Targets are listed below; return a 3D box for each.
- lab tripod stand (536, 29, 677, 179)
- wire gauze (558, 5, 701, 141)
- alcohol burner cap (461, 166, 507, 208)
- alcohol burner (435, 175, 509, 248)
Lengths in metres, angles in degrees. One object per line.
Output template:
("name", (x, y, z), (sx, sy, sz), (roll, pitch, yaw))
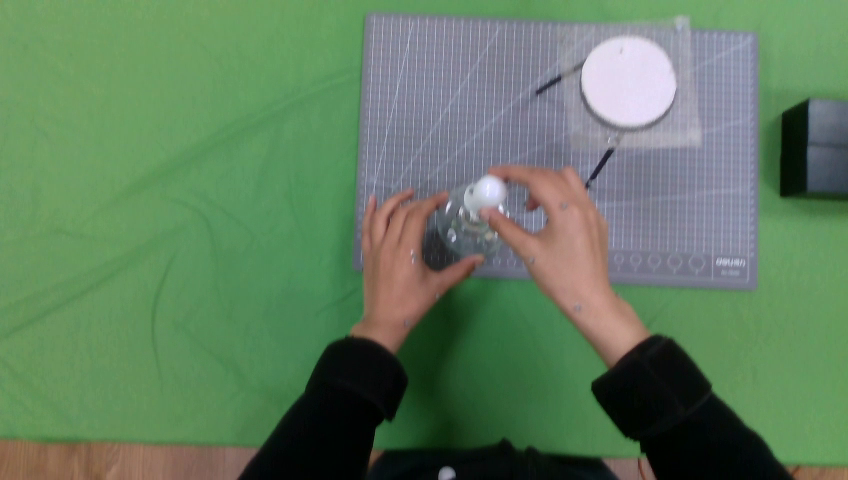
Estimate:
("lab tripod stand", (0.189, -0.148, 0.617), (0.148, 0.131, 0.148), (0, 84, -1))
("wire gauze", (0.188, -0.151, 0.550), (0.125, 0.011, 0.121), (-3, 87, -2))
("alcohol burner cap", (0.054, -0.048, 0.525), (0.034, 0.048, 0.033), (2, 80, -13))
("alcohol burner", (0.051, -0.031, 0.618), (0.078, 0.119, 0.077), (0, 84, -2))
